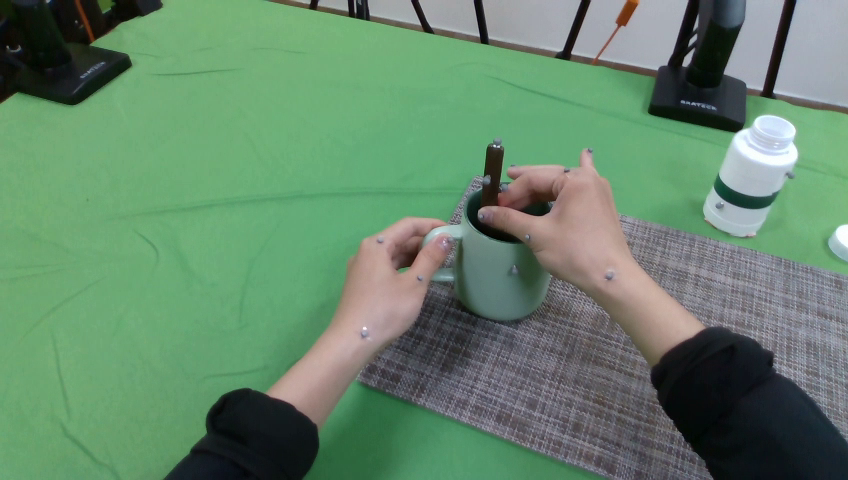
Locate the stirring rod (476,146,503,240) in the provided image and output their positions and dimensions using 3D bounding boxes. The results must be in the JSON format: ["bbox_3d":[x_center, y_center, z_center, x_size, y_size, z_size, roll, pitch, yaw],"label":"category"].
[{"bbox_3d":[0.052,-0.014,0.518,0.014,0.177,0.006,13,53,10],"label":"stirring rod"}]

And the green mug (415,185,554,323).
[{"bbox_3d":[0.054,0.016,0.550,0.125,0.106,0.091,-5,46,-6],"label":"green mug"}]

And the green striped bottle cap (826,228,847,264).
[{"bbox_3d":[0.448,0.007,0.632,0.044,0.020,0.044,2,42,-1],"label":"green striped bottle cap"}]

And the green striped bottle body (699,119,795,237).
[{"bbox_3d":[0.337,-0.065,0.629,0.063,0.120,0.062,1,45,0],"label":"green striped bottle body"}]
